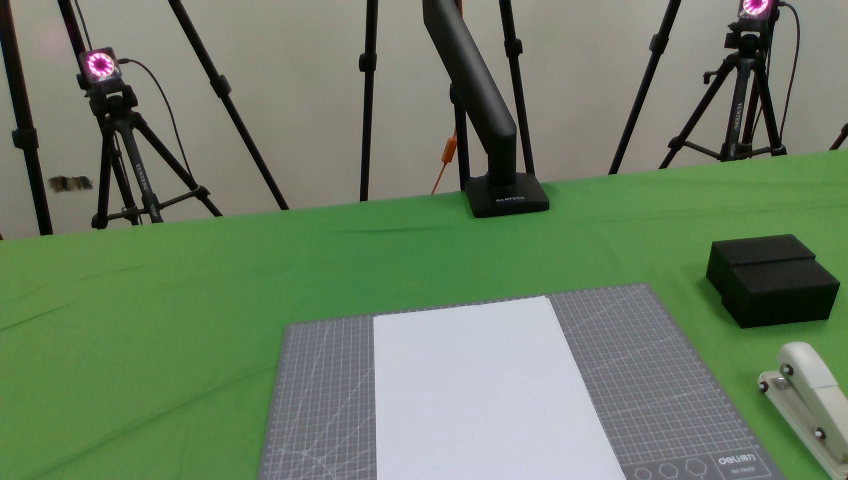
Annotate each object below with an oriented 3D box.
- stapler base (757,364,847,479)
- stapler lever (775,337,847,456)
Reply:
[{"bbox_3d":[0.356,0.155,0.551,0.041,0.024,0.129,-8,33,-2],"label":"stapler base"},{"bbox_3d":[0.355,0.134,0.536,0.027,0.040,0.117,-8,33,-2],"label":"stapler lever"}]
